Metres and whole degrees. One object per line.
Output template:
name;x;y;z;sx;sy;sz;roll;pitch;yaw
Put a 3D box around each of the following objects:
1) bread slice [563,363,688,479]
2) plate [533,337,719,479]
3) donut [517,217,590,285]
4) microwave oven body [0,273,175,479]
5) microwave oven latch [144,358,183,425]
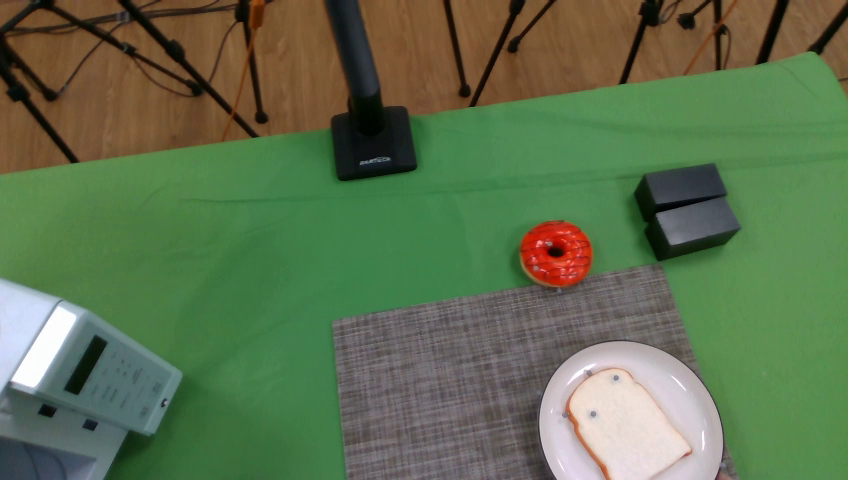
bread slice;0.228;0.213;0.712;0.105;0.019;0.130;-30;68;-9
plate;0.231;0.219;0.708;0.207;0.039;0.206;-2;67;4
donut;0.173;0.015;0.811;0.099;0.048;0.098;-2;62;5
microwave oven body;-0.520;0.248;0.592;0.325;0.262;0.439;17;67;8
microwave oven latch;-0.321;0.179;0.728;0.030;0.030;0.079;18;67;9
